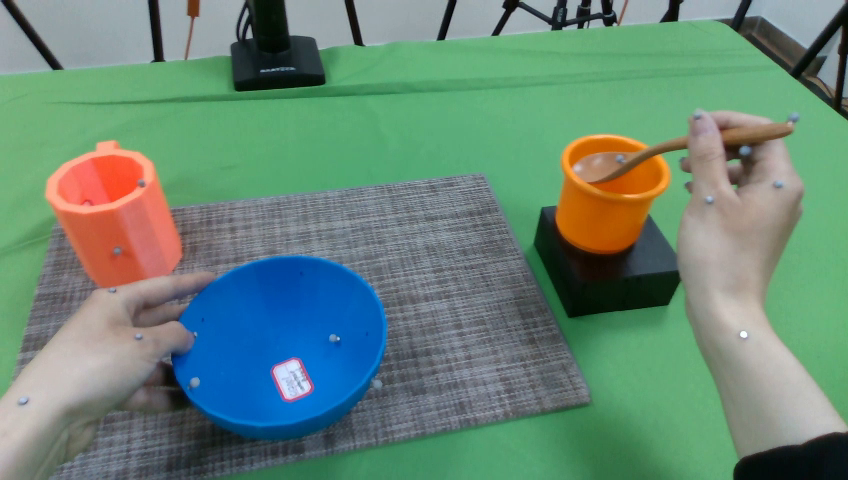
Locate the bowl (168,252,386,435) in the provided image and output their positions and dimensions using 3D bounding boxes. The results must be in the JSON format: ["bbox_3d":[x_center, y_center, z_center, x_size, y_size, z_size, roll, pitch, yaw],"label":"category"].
[{"bbox_3d":[-0.104,0.089,0.461,0.151,0.077,0.150,2,45,-2],"label":"bowl"}]

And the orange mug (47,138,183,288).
[{"bbox_3d":[-0.279,-0.033,0.556,0.084,0.101,0.125,-12,52,-15],"label":"orange mug"}]

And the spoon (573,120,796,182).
[{"bbox_3d":[0.176,-0.066,0.444,0.022,0.193,0.041,45,73,-14],"label":"spoon"}]
